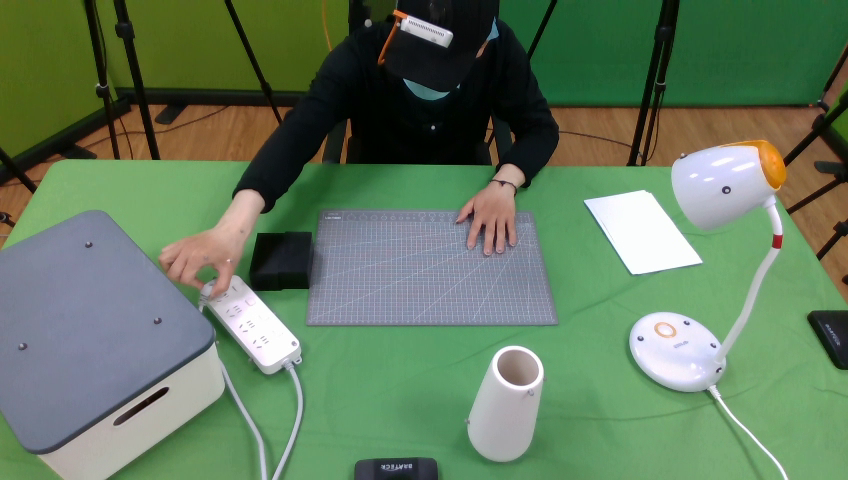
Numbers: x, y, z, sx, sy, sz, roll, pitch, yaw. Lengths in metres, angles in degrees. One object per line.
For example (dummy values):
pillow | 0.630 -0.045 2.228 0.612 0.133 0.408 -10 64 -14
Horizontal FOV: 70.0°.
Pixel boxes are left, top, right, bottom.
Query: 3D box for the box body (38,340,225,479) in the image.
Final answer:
box body | -0.504 0.154 0.917 0.362 0.161 0.254 36 54 27

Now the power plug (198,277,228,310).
power plug | -0.364 0.096 1.035 0.035 0.053 0.072 33 83 22

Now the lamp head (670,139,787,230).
lamp head | 0.415 -0.078 0.812 0.113 0.123 0.112 13 70 -37

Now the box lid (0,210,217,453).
box lid | -0.502 0.102 0.865 0.369 0.015 0.263 36 54 27

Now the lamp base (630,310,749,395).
lamp base | 0.447 0.143 0.984 0.161 0.181 0.178 -24 55 -24

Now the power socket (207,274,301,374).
power socket | -0.296 0.140 1.035 0.072 0.033 0.225 -32 57 -29

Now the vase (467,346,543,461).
vase | 0.116 0.235 0.861 0.098 0.201 0.097 1 47 -1
